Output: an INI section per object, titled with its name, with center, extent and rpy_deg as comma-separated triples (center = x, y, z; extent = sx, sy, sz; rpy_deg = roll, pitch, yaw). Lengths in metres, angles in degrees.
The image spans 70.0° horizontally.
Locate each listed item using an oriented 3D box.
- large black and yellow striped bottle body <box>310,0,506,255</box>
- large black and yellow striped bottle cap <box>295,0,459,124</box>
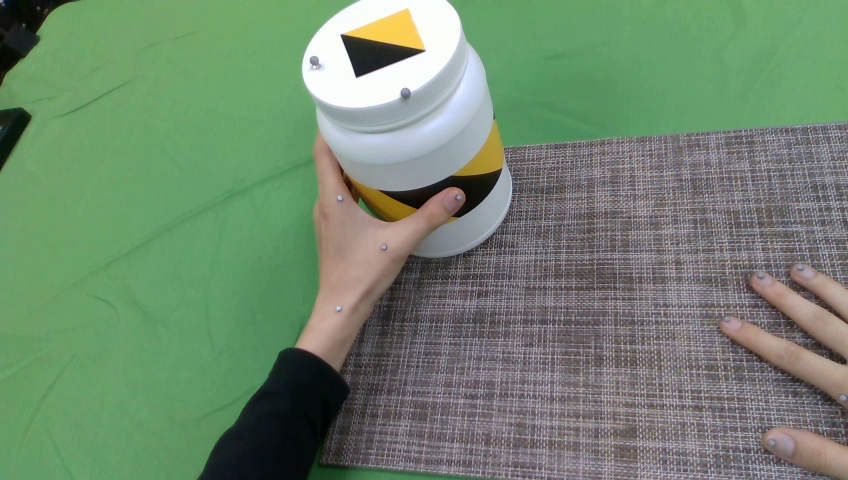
[large black and yellow striped bottle body]
center = -0.010, -0.086, 0.486
extent = 0.130, 0.186, 0.129
rpy_deg = -8, 57, 13
[large black and yellow striped bottle cap]
center = -0.034, -0.128, 0.417
extent = 0.115, 0.019, 0.114
rpy_deg = -7, 57, 11
